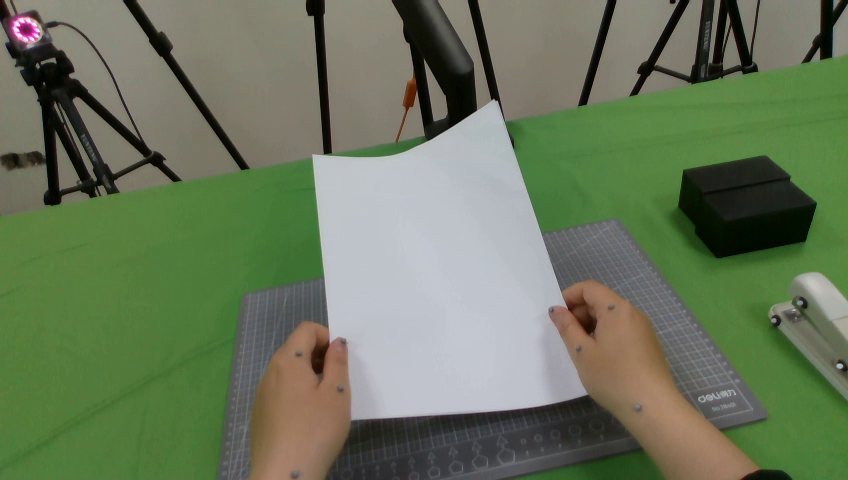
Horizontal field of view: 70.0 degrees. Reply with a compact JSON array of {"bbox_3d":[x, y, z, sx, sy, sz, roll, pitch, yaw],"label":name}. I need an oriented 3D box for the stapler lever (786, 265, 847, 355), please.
[{"bbox_3d":[0.351,0.067,0.506,0.027,0.040,0.117,-15,38,-3],"label":"stapler lever"}]

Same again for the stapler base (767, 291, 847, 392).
[{"bbox_3d":[0.353,0.084,0.522,0.041,0.025,0.129,-14,39,-3],"label":"stapler base"}]
